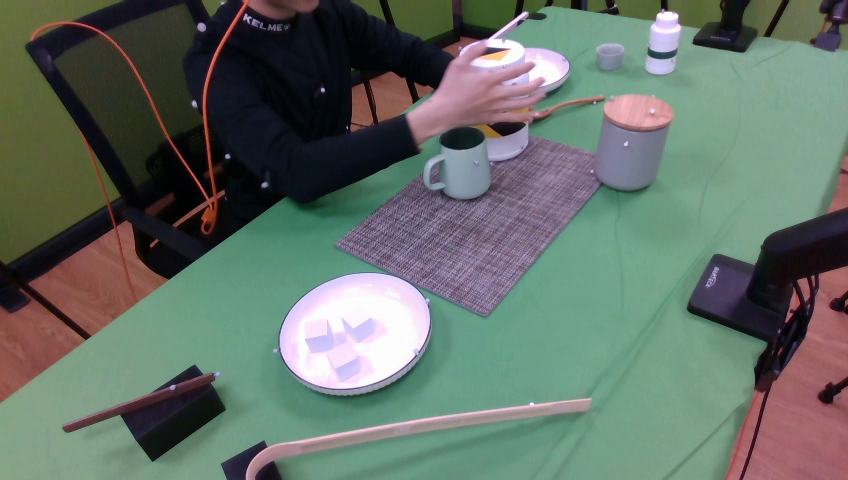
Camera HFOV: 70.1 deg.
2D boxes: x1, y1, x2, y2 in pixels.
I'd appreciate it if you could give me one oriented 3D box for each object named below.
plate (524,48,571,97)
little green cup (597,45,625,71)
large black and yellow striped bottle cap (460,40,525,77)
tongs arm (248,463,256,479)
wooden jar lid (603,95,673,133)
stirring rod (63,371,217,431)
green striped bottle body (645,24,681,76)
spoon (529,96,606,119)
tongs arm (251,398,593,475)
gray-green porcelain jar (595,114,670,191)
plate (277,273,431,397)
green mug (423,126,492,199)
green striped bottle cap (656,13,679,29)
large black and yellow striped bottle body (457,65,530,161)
[{"bbox_3d":[0.223,-0.371,1.357,0.209,0.038,0.208,-4,41,4],"label":"plate"},{"bbox_3d":[0.423,-0.413,1.376,0.061,0.039,0.061,-3,41,3],"label":"little green cup"},{"bbox_3d":[0.120,-0.321,1.061,0.115,0.019,0.114,-4,41,4],"label":"large black and yellow striped bottle cap"},{"bbox_3d":[0.012,0.262,0.615,0.385,0.026,0.050,2,41,-2],"label":"tongs arm"},{"bbox_3d":[0.343,-0.200,0.973,0.108,0.021,0.108,-1,39,2],"label":"wooden jar lid"},{"bbox_3d":[-0.337,0.192,0.723,0.177,0.014,0.005,-18,43,-12],"label":"stirring rod"},{"bbox_3d":[0.520,-0.424,1.312,0.063,0.120,0.063,-4,41,4],"label":"green striped bottle body"},{"bbox_3d":[0.291,-0.277,1.249,0.194,0.022,0.041,-17,27,-11],"label":"spoon"},{"bbox_3d":[0.008,0.212,0.675,0.389,0.028,0.028,-5,46,-11],"label":"tongs arm"},{"bbox_3d":[0.346,-0.154,1.017,0.106,0.127,0.105,-2,44,2],"label":"gray-green porcelain jar"},{"bbox_3d":[-0.091,0.129,0.821,0.207,0.039,0.206,-4,40,4],"label":"plate"},{"bbox_3d":[0.055,-0.126,1.039,0.126,0.105,0.091,-25,44,-20],"label":"green mug"},{"bbox_3d":[0.515,-0.463,1.278,0.044,0.020,0.044,-5,41,5],"label":"green striped bottle cap"},{"bbox_3d":[0.129,-0.255,1.116,0.131,0.185,0.130,-4,41,4],"label":"large black and yellow striped bottle body"}]
